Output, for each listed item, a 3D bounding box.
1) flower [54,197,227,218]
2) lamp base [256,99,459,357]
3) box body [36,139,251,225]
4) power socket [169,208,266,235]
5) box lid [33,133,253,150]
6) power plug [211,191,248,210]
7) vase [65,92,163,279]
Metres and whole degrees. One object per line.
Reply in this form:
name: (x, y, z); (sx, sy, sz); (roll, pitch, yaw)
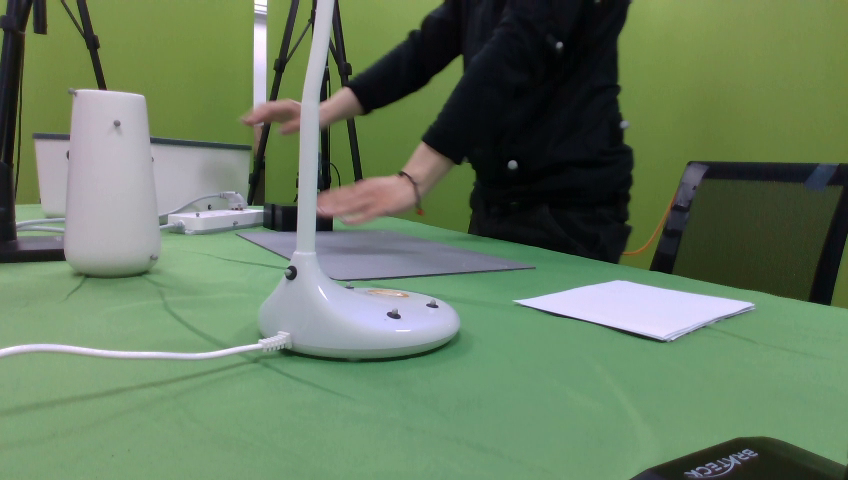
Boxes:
flower: (-0.573, -0.058, 1.266); (0.044, 0.038, 0.364); (36, 21, 33)
lamp base: (-0.055, -0.013, 0.463); (0.160, 0.180, 0.180); (6, 11, 27)
box body: (-0.558, -0.127, 1.257); (0.253, 0.160, 0.365); (4, 8, 15)
power socket: (-0.379, -0.038, 1.129); (0.072, 0.032, 0.227); (4, 8, 18)
box lid: (-0.555, -0.199, 1.249); (0.263, 0.015, 0.372); (5, 8, 15)
power plug: (-0.384, -0.071, 1.205); (0.072, 0.052, 0.035); (1, 8, 28)
vase: (-0.347, -0.060, 0.673); (0.098, 0.200, 0.098); (1, 7, 0)
